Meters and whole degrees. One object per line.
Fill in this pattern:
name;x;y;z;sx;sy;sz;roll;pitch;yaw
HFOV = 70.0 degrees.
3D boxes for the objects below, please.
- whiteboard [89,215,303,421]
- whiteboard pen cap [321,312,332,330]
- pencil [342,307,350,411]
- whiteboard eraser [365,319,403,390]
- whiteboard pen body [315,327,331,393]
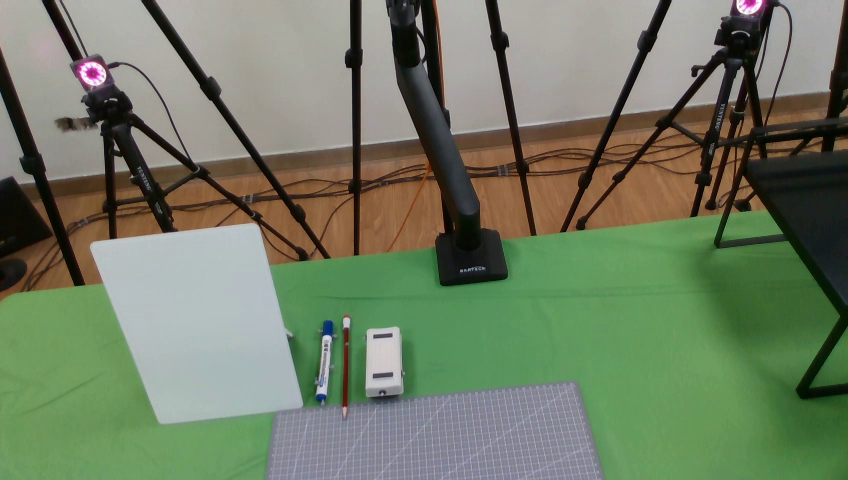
whiteboard;-0.304;0.090;0.895;0.217;0.308;0.142;-7;26;1
whiteboard pen cap;-0.159;0.135;0.991;0.018;0.018;0.033;-7;44;0
pencil;-0.121;0.181;0.948;0.012;0.012;0.192;-8;45;-1
whiteboard eraser;-0.062;0.175;0.925;0.055;0.042;0.111;-7;45;1
whiteboard pen body;-0.157;0.177;0.951;0.017;0.017;0.139;-6;45;2
